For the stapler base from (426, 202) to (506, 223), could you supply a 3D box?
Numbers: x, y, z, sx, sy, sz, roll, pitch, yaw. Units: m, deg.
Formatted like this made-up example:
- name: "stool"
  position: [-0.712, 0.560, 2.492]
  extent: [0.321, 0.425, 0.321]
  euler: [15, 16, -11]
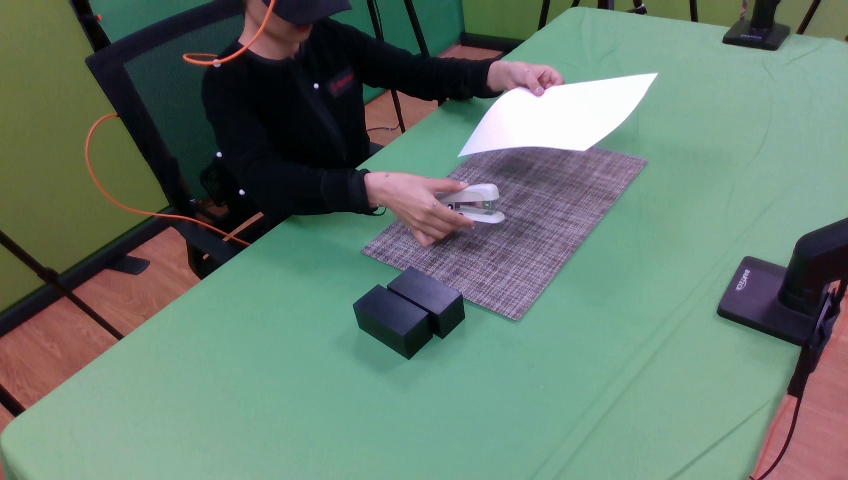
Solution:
- name: "stapler base"
  position: [0.068, -0.050, 0.967]
  extent: [0.129, 0.024, 0.041]
  euler: [9, 17, 30]

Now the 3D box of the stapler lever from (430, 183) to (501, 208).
- name: "stapler lever"
  position: [0.066, -0.074, 0.960]
  extent: [0.117, 0.040, 0.027]
  euler: [9, 17, 30]
